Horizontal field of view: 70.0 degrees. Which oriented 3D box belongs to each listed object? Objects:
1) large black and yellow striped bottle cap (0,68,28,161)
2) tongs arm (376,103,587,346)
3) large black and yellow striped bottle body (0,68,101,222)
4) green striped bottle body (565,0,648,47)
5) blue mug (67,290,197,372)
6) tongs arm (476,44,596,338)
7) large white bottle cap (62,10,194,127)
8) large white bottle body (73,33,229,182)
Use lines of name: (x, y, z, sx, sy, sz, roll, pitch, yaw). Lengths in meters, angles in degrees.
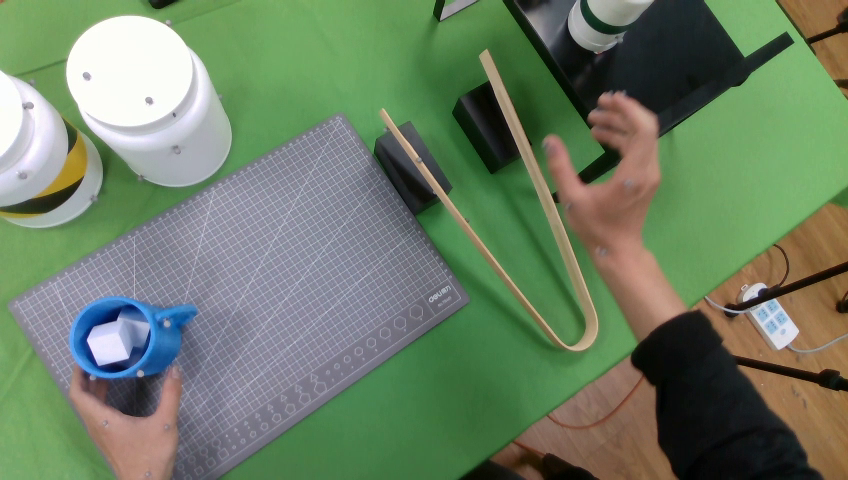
large black and yellow striped bottle cap: (-0.427, -0.116, 0.550, 0.115, 0.019, 0.114, 2, 80, -10)
tongs arm: (0.075, -0.015, 0.738, 0.051, 0.026, 0.386, -38, 100, -15)
large black and yellow striped bottle body: (-0.438, -0.099, 0.631, 0.131, 0.184, 0.130, 2, 79, -8)
green striped bottle body: (0.192, -0.249, 0.606, 0.063, 0.119, 0.063, 2, 79, -8)
blue mug: (-0.304, 0.093, 0.657, 0.116, 0.106, 0.082, -25, 84, -13)
tongs arm: (0.141, -0.058, 0.758, 0.028, 0.027, 0.388, -25, 97, -21)
large white bottle cap: (-0.282, -0.165, 0.580, 0.115, 0.018, 0.114, 2, 79, -9)
large white bottle body: (-0.294, -0.149, 0.662, 0.131, 0.185, 0.130, 2, 79, -8)
